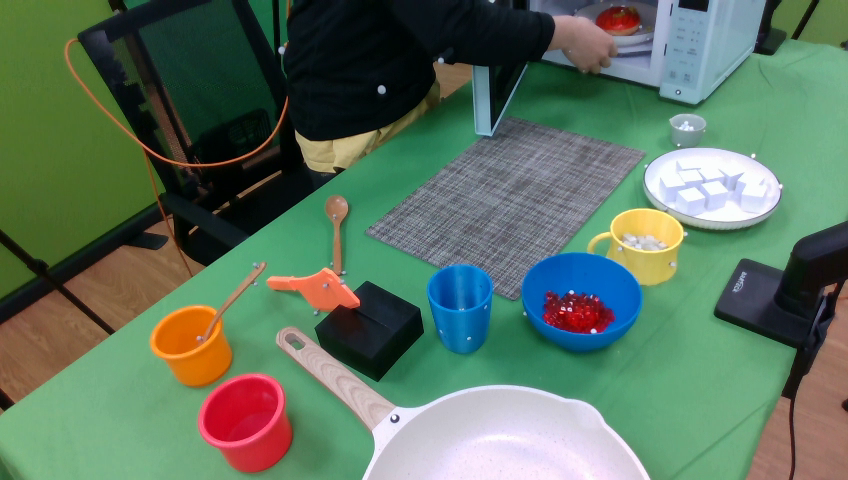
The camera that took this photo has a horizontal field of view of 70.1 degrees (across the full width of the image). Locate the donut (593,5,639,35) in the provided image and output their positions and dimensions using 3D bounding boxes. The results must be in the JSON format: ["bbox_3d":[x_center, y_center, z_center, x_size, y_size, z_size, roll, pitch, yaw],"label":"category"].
[{"bbox_3d":[0.429,-0.490,1.348,0.099,0.048,0.098,-6,41,6],"label":"donut"}]

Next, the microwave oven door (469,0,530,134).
[{"bbox_3d":[0.162,-0.413,1.231,0.039,0.245,0.355,9,43,18],"label":"microwave oven door"}]

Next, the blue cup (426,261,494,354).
[{"bbox_3d":[0.050,0.095,0.791,0.092,0.100,0.092,-3,42,3],"label":"blue cup"}]

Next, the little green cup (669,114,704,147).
[{"bbox_3d":[0.485,-0.203,1.124,0.061,0.039,0.061,-5,40,5],"label":"little green cup"}]

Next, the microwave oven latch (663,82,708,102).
[{"bbox_3d":[0.518,-0.298,1.202,0.078,0.029,0.030,30,53,36],"label":"microwave oven latch"}]

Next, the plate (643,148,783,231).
[{"bbox_3d":[0.464,-0.080,0.986,0.207,0.039,0.206,-4,41,4],"label":"plate"}]

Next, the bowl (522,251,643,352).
[{"bbox_3d":[0.204,0.093,0.792,0.151,0.077,0.150,-4,40,4],"label":"bowl"}]

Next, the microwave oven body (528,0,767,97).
[{"bbox_3d":[0.473,-0.516,1.313,0.438,0.261,0.327,26,51,34],"label":"microwave oven body"}]

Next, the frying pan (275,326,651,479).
[{"bbox_3d":[0.004,0.229,0.641,0.484,0.103,0.308,34,54,28],"label":"frying pan"}]

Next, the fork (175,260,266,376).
[{"bbox_3d":[-0.268,0.103,0.792,0.207,0.019,0.028,-51,41,16],"label":"fork"}]

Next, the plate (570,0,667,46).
[{"bbox_3d":[0.436,-0.488,1.367,0.209,0.038,0.208,-4,41,4],"label":"plate"}]

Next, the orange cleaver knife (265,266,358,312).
[{"bbox_3d":[-0.165,0.073,0.864,0.210,0.077,0.012,-6,31,50],"label":"orange cleaver knife"}]

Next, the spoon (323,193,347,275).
[{"bbox_3d":[-0.148,-0.014,1.008,0.042,0.021,0.192,4,39,-12],"label":"spoon"}]

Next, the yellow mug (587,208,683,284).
[{"bbox_3d":[0.305,0.009,0.884,0.131,0.064,0.099,-4,41,5],"label":"yellow mug"}]
